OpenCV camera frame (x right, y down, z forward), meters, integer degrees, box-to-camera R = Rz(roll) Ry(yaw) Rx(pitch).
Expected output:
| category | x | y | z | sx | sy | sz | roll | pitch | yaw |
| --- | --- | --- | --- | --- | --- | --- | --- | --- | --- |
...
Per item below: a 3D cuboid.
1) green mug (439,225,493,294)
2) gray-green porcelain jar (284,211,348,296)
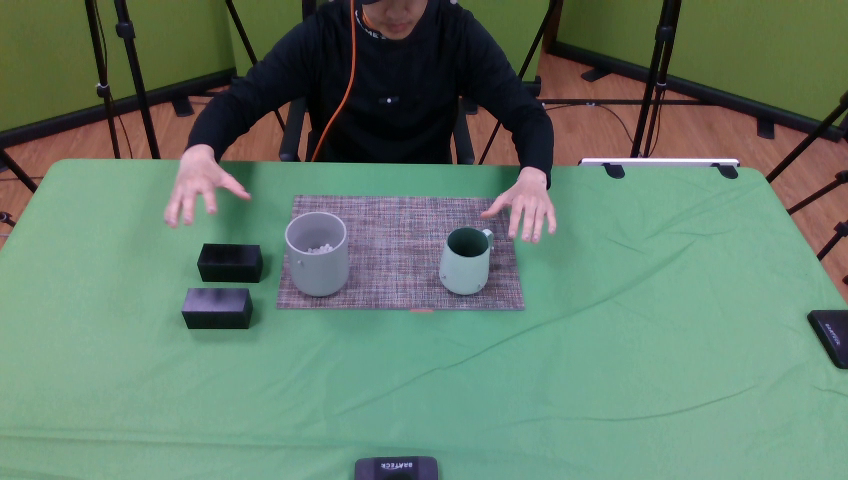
| category | x | y | z | sx | sy | sz | roll | pitch | yaw |
| --- | --- | --- | --- | --- | --- | --- | --- | --- | --- |
| green mug | 0.086 | 0.028 | 1.114 | 0.092 | 0.105 | 0.125 | 31 | 52 | 24 |
| gray-green porcelain jar | -0.188 | 0.029 | 1.077 | 0.106 | 0.127 | 0.105 | 2 | 47 | -2 |
